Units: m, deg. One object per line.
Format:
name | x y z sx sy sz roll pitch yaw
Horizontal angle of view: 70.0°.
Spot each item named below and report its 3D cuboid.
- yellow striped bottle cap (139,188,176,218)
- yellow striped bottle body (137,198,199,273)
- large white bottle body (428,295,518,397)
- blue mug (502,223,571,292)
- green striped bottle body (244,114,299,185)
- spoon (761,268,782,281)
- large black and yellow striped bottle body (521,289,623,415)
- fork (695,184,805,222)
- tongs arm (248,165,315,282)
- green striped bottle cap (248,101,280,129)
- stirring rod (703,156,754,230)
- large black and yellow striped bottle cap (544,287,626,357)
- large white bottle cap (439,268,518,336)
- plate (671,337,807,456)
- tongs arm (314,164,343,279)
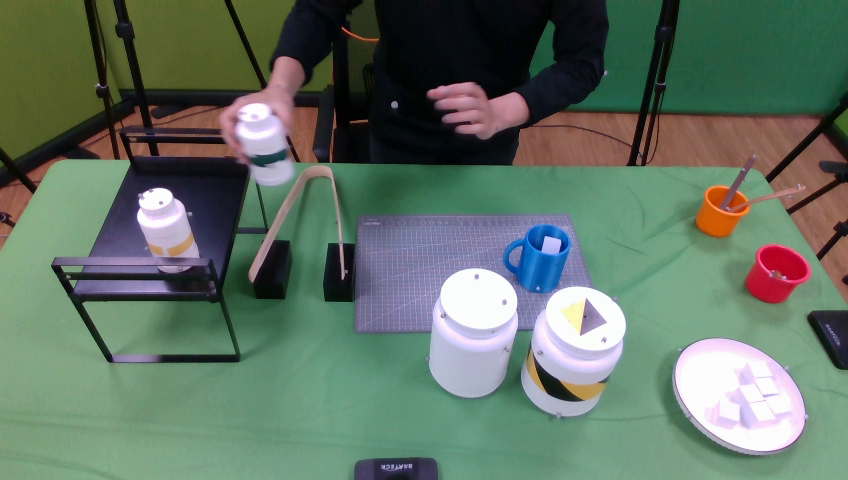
yellow striped bottle cap | -0.363 -0.051 0.826 0.044 0.019 0.044 1 47 -1
yellow striped bottle body | -0.366 -0.014 0.864 0.063 0.121 0.062 2 46 -2
large white bottle body | 0.076 0.147 0.950 0.131 0.185 0.130 2 46 -2
blue mug | 0.203 0.032 1.121 0.116 0.106 0.082 5 47 1
green striped bottle body | -0.232 -0.146 0.919 0.063 0.120 0.063 -1 51 2
spoon | 0.638 0.060 1.105 0.041 0.021 0.194 38 11 24
large black and yellow striped bottle body | 0.228 0.173 0.938 0.131 0.185 0.130 2 47 -2
fork | 0.657 -0.075 1.230 0.207 0.019 0.028 -23 34 37
tongs arm | -0.270 -0.047 1.165 0.028 0.028 0.385 -1 34 7
green striped bottle cap | -0.233 -0.181 0.880 0.044 0.020 0.044 -1 51 1
stirring rod | 0.631 -0.097 1.258 0.014 0.006 0.176 33 95 28
large black and yellow striped bottle cap | 0.232 0.116 0.876 0.115 0.019 0.114 1 45 -1
large white bottle cap | 0.080 0.089 0.888 0.115 0.018 0.114 2 47 -2
plate | 0.503 0.254 0.984 0.208 0.039 0.206 2 46 -2
tongs arm | -0.188 -0.049 1.170 0.051 0.026 0.382 -5 35 -6
